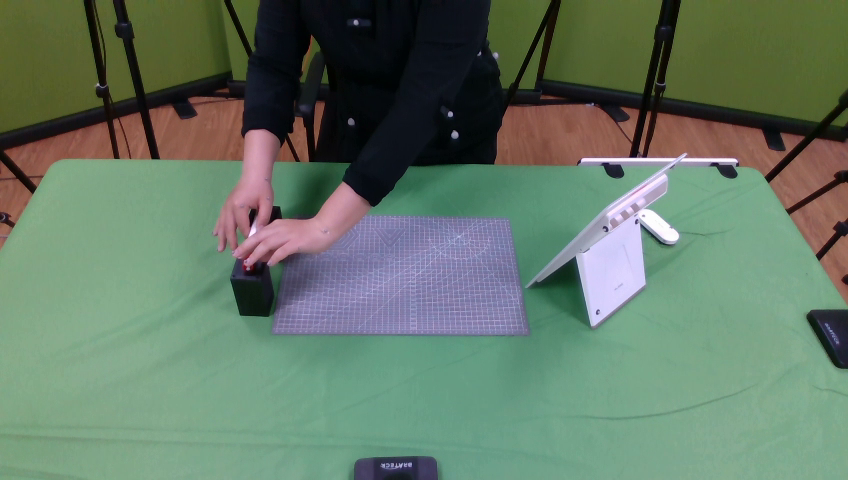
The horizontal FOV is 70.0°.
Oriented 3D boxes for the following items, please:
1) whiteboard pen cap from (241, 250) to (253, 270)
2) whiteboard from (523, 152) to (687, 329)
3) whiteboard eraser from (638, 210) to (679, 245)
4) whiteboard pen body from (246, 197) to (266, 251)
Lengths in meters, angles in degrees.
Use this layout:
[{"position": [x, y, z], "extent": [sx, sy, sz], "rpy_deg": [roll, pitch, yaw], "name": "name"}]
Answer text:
[{"position": [-0.293, 0.033, 1.006], "extent": [0.017, 0.017, 0.032], "rpy_deg": [-2, 45, -7], "name": "whiteboard pen cap"}, {"position": [0.346, 0.025, 1.047], "extent": [0.217, 0.306, 0.143], "rpy_deg": [-30, 74, -29], "name": "whiteboard"}, {"position": [0.485, -0.027, 1.260], "extent": [0.041, 0.019, 0.100], "rpy_deg": [-20, 50, -22], "name": "whiteboard eraser"}, {"position": [-0.297, -0.026, 1.065], "extent": [0.017, 0.017, 0.139], "rpy_deg": [1, 45, -3], "name": "whiteboard pen body"}]
